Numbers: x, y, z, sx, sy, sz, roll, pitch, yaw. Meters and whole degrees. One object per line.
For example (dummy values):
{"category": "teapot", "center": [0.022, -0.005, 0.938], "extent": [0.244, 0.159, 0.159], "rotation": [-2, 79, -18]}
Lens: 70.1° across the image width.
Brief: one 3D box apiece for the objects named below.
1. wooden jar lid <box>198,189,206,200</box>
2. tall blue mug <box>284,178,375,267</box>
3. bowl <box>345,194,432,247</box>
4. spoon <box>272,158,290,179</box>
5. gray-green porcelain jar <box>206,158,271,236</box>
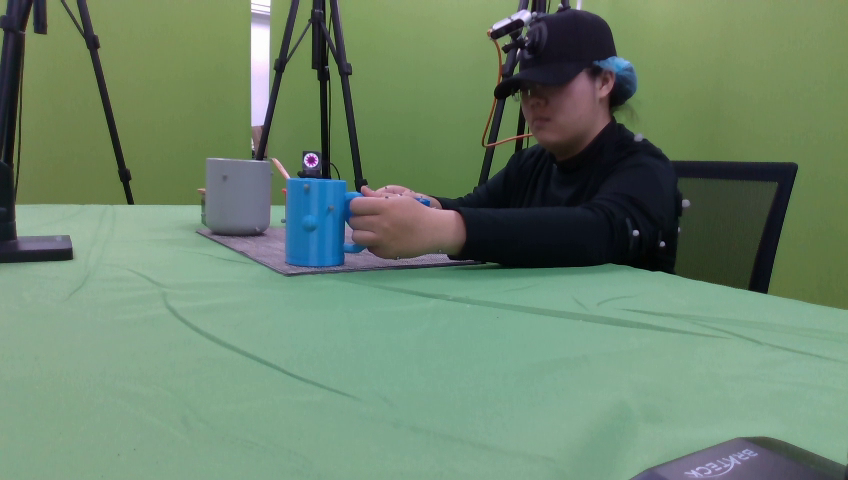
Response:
{"category": "wooden jar lid", "center": [-0.382, -0.088, 1.175], "extent": [0.108, 0.020, 0.108], "rotation": [3, 8, 0]}
{"category": "tall blue mug", "center": [-0.126, -0.024, 0.784], "extent": [0.108, 0.108, 0.077], "rotation": [-1, 7, -27]}
{"category": "bowl", "center": [-0.066, -0.031, 0.984], "extent": [0.151, 0.077, 0.151], "rotation": [3, 7, 0]}
{"category": "spoon", "center": [-0.268, -0.103, 1.236], "extent": [0.042, 0.193, 0.021], "rotation": [-10, -32, -39]}
{"category": "gray-green porcelain jar", "center": [-0.316, -0.074, 1.031], "extent": [0.106, 0.126, 0.106], "rotation": [3, 7, 0]}
